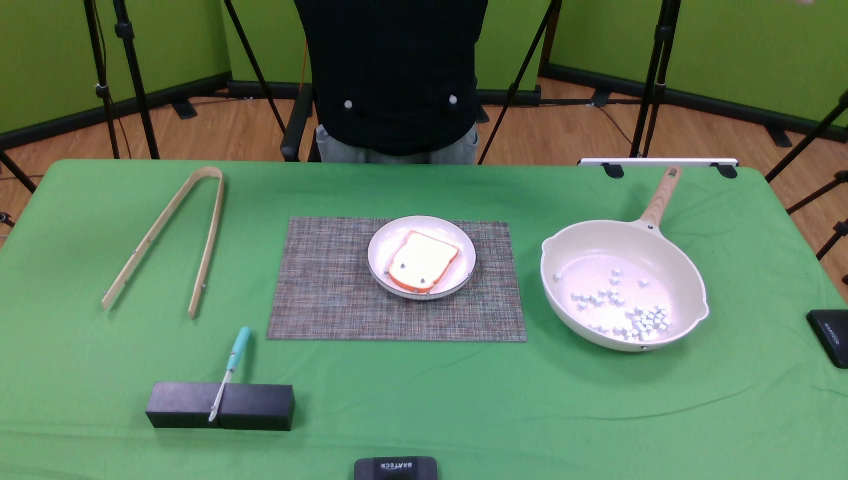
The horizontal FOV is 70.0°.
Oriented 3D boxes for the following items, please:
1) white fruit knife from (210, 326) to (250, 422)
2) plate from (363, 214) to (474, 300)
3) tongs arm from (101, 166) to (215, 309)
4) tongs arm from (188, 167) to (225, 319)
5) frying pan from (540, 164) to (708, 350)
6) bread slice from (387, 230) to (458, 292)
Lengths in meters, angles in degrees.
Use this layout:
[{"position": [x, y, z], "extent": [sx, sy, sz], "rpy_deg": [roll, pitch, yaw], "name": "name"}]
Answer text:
[{"position": [-0.301, 0.201, 0.942], "extent": [0.016, 0.027, 0.206], "rpy_deg": [2, 32, -2], "name": "white fruit knife"}, {"position": [-0.010, 0.036, 1.146], "extent": [0.208, 0.039, 0.206], "rpy_deg": [2, 46, -2], "name": "plate"}, {"position": [-0.499, -0.018, 1.166], "extent": [0.051, 0.026, 0.382], "rpy_deg": [9, 45, 2], "name": "tongs arm"}, {"position": [-0.419, -0.009, 1.170], "extent": [0.028, 0.028, 0.385], "rpy_deg": [-3, 46, -4], "name": "tongs arm"}, {"position": [0.407, 0.012, 1.160], "extent": [0.306, 0.103, 0.486], "rpy_deg": [26, 58, 18], "name": "frying pan"}, {"position": [-0.007, 0.043, 1.142], "extent": [0.107, 0.018, 0.134], "rpy_deg": [18, 46, 14], "name": "bread slice"}]
